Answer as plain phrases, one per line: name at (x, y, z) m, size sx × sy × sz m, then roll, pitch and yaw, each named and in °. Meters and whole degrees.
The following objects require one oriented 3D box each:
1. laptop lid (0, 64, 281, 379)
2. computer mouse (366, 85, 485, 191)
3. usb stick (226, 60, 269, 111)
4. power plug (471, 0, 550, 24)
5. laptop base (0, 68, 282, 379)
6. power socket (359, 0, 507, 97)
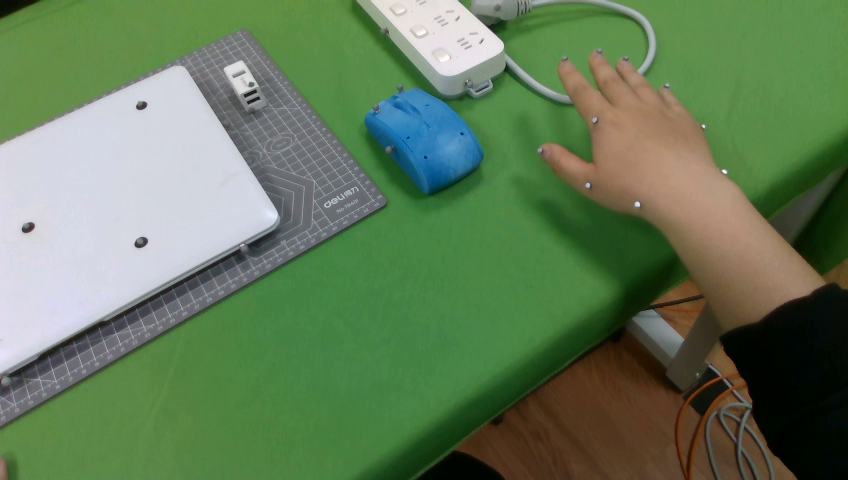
laptop lid at (-0.320, -0.009, 0.500) m, size 0.357 × 0.013 × 0.239 m, roll -29°, pitch 60°, yaw -12°
computer mouse at (-0.002, -0.095, 0.521) m, size 0.063 × 0.041 × 0.116 m, roll -32°, pitch 54°, yaw -11°
usb stick at (-0.172, -0.153, 0.583) m, size 0.021 × 0.027 × 0.058 m, roll -30°, pitch 56°, yaw -10°
power plug at (0.083, -0.235, 0.612) m, size 0.073 × 0.035 × 0.052 m, roll -1°, pitch 30°, yaw -20°
laptop base at (-0.320, -0.004, 0.511) m, size 0.354 × 0.023 × 0.233 m, roll -31°, pitch 62°, yaw -13°
power socket at (0.000, -0.223, 0.607) m, size 0.072 × 0.033 × 0.224 m, roll -29°, pitch 58°, yaw -11°
